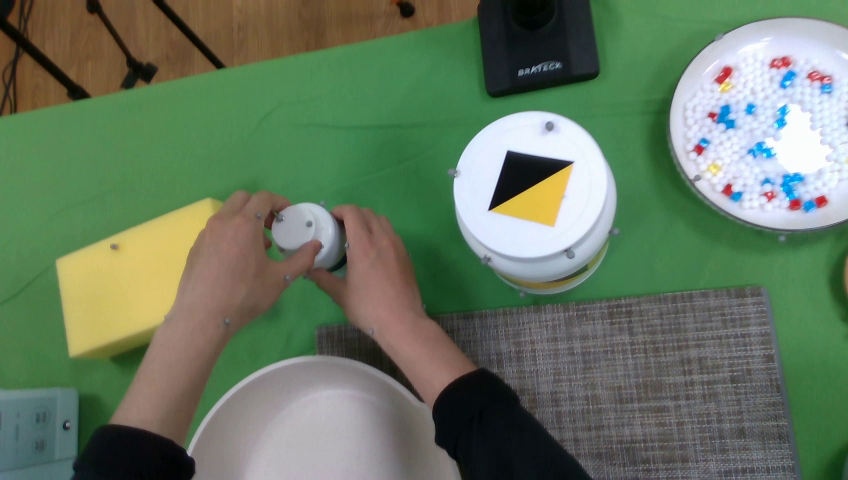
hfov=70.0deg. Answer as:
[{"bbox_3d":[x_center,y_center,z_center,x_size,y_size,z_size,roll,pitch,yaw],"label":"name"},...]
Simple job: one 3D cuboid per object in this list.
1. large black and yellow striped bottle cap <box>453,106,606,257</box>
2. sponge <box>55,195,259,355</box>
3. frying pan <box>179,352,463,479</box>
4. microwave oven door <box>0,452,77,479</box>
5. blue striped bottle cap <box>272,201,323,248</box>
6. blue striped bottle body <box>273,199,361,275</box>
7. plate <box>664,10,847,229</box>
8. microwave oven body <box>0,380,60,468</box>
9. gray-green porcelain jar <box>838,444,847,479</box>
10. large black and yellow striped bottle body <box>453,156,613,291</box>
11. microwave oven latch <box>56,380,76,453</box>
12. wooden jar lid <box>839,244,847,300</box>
[{"bbox_3d":[0.079,-0.045,0.458,0.115,0.019,0.114,-2,81,14],"label":"large black and yellow striped bottle cap"},{"bbox_3d":[-0.305,0.044,0.691,0.207,0.061,0.117,-21,76,9],"label":"sponge"},{"bbox_3d":[-0.044,0.334,0.549,0.307,0.103,0.483,-37,66,7],"label":"frying pan"},{"bbox_3d":[-0.427,0.394,0.547,0.039,0.245,0.354,-7,79,14],"label":"microwave oven door"},{"bbox_3d":[-0.119,-0.015,0.569,0.044,0.021,0.044,-1,85,15],"label":"blue striped bottle cap"},{"bbox_3d":[-0.110,-0.003,0.618,0.063,0.121,0.063,-2,79,10],"label":"blue striped bottle body"},{"bbox_3d":[0.335,-0.111,0.569,0.208,0.038,0.208,-3,80,14],"label":"plate"},{"bbox_3d":[-0.569,0.371,0.592,0.325,0.261,0.439,-7,79,13],"label":"microwave oven body"},{"bbox_3d":[0.388,0.192,0.457,0.105,0.127,0.105,-3,79,14],"label":"gray-green porcelain jar"},{"bbox_3d":[0.099,-0.028,0.538,0.130,0.185,0.130,-3,79,14],"label":"large black and yellow striped bottle body"},{"bbox_3d":[-0.413,0.198,0.684,0.030,0.029,0.079,-7,79,13],"label":"microwave oven latch"},{"bbox_3d":[0.424,0.031,0.531,0.108,0.021,0.108,-2,81,14],"label":"wooden jar lid"}]
